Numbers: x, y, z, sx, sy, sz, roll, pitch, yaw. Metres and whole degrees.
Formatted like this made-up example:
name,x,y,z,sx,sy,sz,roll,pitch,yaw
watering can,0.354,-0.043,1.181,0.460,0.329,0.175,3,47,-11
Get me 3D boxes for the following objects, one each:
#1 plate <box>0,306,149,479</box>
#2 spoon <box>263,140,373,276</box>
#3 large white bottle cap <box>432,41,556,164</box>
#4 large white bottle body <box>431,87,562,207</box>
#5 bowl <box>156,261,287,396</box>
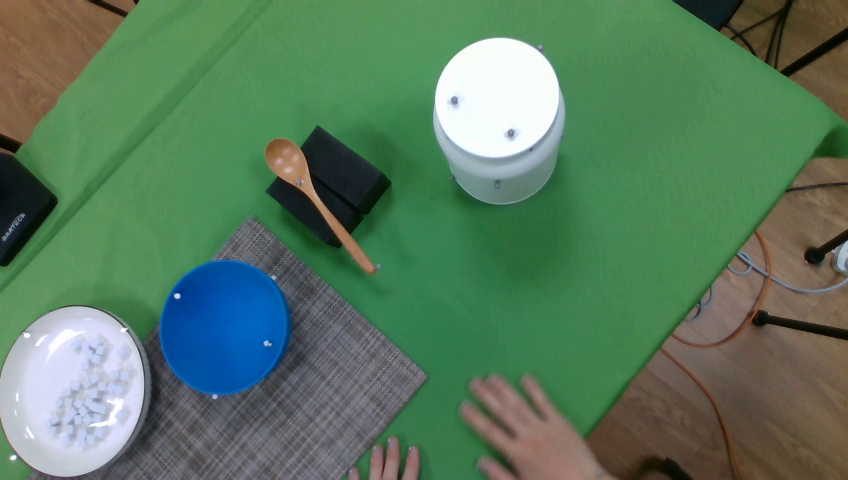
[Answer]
name,x,y,z,sx,sy,sz,roll,pitch,yaw
plate,-0.431,0.186,0.751,0.209,0.038,0.208,-2,80,10
spoon,-0.121,-0.035,0.699,0.041,0.022,0.193,-37,84,-2
large white bottle cap,0.064,-0.128,0.560,0.114,0.018,0.114,-1,82,8
large white bottle body,0.078,-0.115,0.643,0.130,0.185,0.130,-1,82,8
bowl,-0.222,0.102,0.710,0.151,0.077,0.151,-1,83,9
